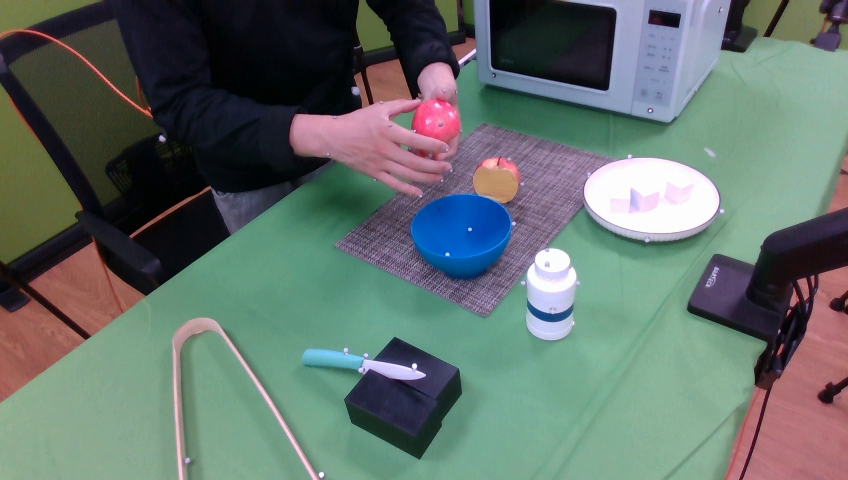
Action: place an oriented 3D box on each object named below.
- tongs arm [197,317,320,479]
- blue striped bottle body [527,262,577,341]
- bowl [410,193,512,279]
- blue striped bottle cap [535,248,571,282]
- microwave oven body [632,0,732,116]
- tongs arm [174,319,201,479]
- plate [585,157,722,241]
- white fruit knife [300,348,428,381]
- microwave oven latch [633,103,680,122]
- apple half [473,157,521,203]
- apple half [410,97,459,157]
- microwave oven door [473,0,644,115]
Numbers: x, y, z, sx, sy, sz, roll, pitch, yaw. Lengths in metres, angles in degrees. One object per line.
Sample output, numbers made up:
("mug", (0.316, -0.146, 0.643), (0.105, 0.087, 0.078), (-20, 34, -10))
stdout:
("tongs arm", (-0.199, 0.207, 0.750), (0.028, 0.028, 0.384), (-31, 45, -22))
("blue striped bottle body", (0.165, 0.070, 0.786), (0.063, 0.121, 0.063), (-4, 41, 4))
("bowl", (0.058, 0.005, 0.905), (0.151, 0.077, 0.150), (-4, 40, 4))
("blue striped bottle cap", (0.161, 0.031, 0.753), (0.044, 0.021, 0.044), (-4, 42, 4))
("microwave oven body", (0.377, -0.462, 1.267), (0.438, 0.261, 0.327), (21, 48, 30))
("tongs arm", (-0.272, 0.234, 0.723), (0.051, 0.026, 0.381), (-19, 40, -15))
("plate", (0.367, -0.063, 0.979), (0.207, 0.039, 0.206), (-4, 40, 4))
("white fruit knife", (-0.080, 0.154, 0.748), (0.206, 0.027, 0.016), (1, 20, 34))
("microwave oven latch", (0.444, -0.249, 1.157), (0.078, 0.029, 0.030), (21, 49, 30))
("apple half", (0.128, -0.107, 1.030), (0.080, 0.075, 0.053), (5, 38, 19))
("apple half", (0.004, -0.156, 0.814), (0.080, 0.081, 0.033), (24, 14, 32))
("microwave oven door", (0.257, -0.396, 1.199), (0.353, 0.245, 0.039), (21, 48, 29))
